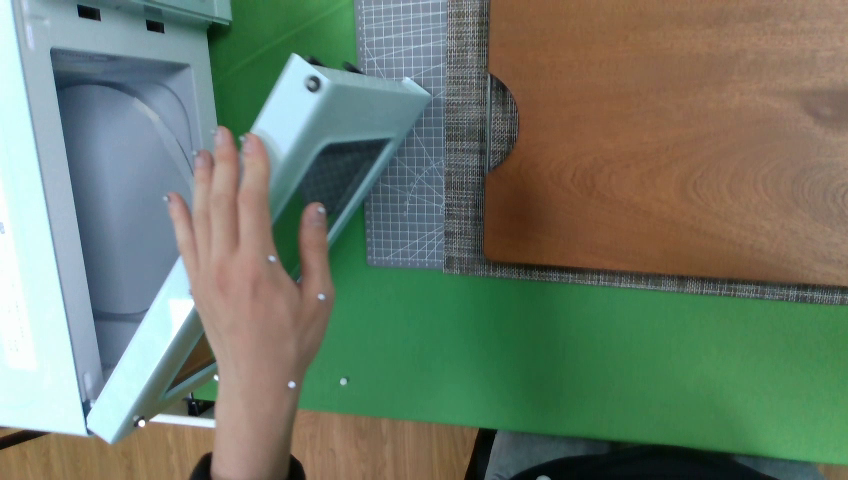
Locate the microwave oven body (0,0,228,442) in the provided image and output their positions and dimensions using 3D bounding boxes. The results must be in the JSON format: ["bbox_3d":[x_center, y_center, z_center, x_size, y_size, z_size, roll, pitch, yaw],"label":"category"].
[{"bbox_3d":[-0.377,-0.070,0.605,0.325,0.260,0.443,0,102,15],"label":"microwave oven body"}]

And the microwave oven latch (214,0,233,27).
[{"bbox_3d":[-0.217,-0.262,0.620,0.030,0.029,0.079,1,102,15],"label":"microwave oven latch"}]

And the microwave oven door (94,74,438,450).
[{"bbox_3d":[-0.131,0.010,0.547,0.039,0.244,0.356,39,109,7],"label":"microwave oven door"}]
